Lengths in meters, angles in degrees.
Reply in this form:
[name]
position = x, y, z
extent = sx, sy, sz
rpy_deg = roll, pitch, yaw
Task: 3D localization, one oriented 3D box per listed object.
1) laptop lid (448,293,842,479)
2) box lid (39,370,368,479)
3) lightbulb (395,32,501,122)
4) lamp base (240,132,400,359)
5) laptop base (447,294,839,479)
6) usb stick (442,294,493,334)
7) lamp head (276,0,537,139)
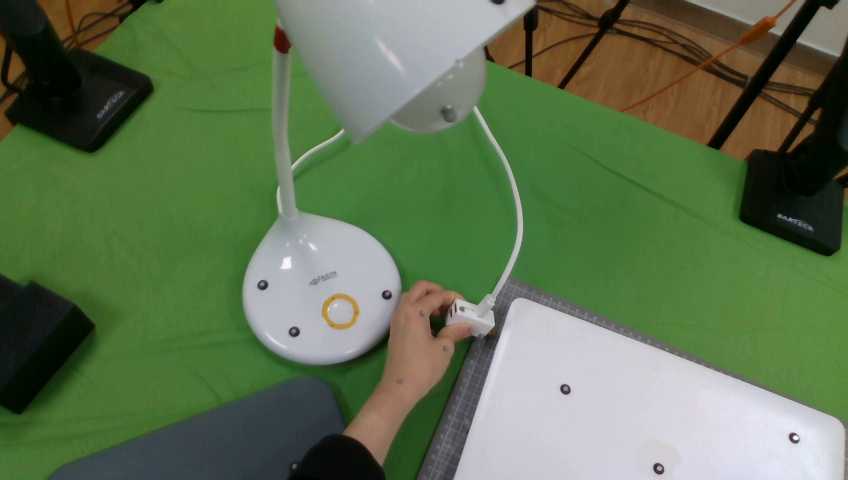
[laptop lid]
position = 0.214, 0.209, 0.565
extent = 0.356, 0.013, 0.240
rpy_deg = 22, 63, 5
[box lid]
position = -0.144, 0.306, 0.482
extent = 0.264, 0.015, 0.368
rpy_deg = -19, 67, -17
[lightbulb]
position = 0.002, -0.110, 0.285
extent = 0.059, 0.059, 0.108
rpy_deg = -15, 103, -15
[lamp base]
position = -0.105, -0.001, 0.558
extent = 0.160, 0.181, 0.178
rpy_deg = -33, 67, -23
[laptop base]
position = 0.213, 0.213, 0.577
extent = 0.354, 0.023, 0.234
rpy_deg = 21, 64, 4
[usb stick]
position = 0.049, 0.077, 0.613
extent = 0.059, 0.027, 0.021
rpy_deg = 25, 37, -23
[lamp head]
position = -0.025, -0.126, 0.289
extent = 0.112, 0.112, 0.123
rpy_deg = -43, 98, -25
